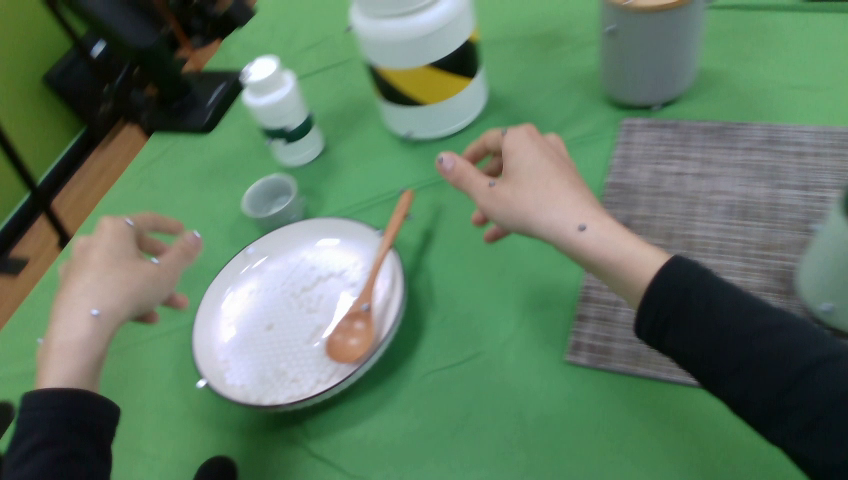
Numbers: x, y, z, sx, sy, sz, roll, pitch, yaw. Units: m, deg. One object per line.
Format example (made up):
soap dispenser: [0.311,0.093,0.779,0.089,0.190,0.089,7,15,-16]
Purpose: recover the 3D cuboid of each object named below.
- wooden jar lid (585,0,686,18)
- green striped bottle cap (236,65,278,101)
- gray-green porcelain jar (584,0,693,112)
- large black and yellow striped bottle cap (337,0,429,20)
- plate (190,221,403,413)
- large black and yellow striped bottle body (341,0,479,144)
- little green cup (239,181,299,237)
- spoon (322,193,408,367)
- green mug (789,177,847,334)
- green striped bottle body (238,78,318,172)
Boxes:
wooden jar lid: [0.213,-0.251,0.604,0.108,0.021,0.107,-8,53,11]
green striped bottle cap: [-0.187,-0.175,0.678,0.044,0.020,0.044,-6,52,9]
gray-green porcelain jar: [0.228,-0.212,0.651,0.106,0.128,0.105,-8,50,10]
large black and yellow striped bottle cap: [-0.036,-0.266,0.623,0.115,0.019,0.114,-8,49,10]
plate: [-0.118,0.071,0.581,0.209,0.038,0.207,-8,50,10]
large black and yellow striped bottle body: [-0.016,-0.215,0.686,0.130,0.186,0.129,-8,50,10]
little green cup: [-0.171,-0.032,0.680,0.061,0.039,0.061,-8,49,10]
spoon: [-0.048,0.031,0.572,0.041,0.022,0.192,9,63,21]
green mug: [0.343,0.018,0.438,0.124,0.106,0.092,28,64,33]
green striped bottle body: [-0.175,-0.142,0.717,0.063,0.120,0.062,-8,50,10]
